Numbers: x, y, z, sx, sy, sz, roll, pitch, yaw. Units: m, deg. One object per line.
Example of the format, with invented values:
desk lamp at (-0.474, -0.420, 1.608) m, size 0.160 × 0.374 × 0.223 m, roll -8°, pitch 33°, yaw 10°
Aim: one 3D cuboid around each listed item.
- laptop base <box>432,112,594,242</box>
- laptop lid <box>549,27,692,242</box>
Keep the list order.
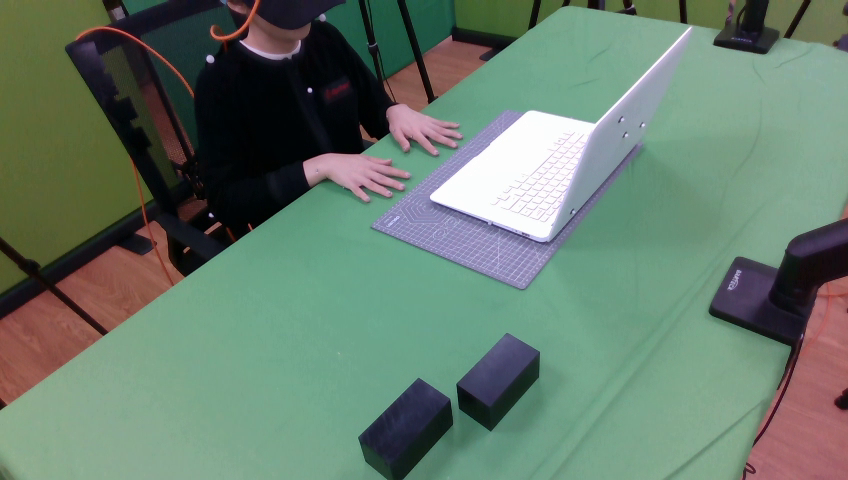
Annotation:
laptop base at (0.208, -0.129, 1.098) m, size 0.233 × 0.023 × 0.355 m, roll 20°, pitch 47°, yaw 34°
laptop lid at (0.311, -0.167, 0.948) m, size 0.013 × 0.242 × 0.358 m, roll 33°, pitch 52°, yaw 20°
